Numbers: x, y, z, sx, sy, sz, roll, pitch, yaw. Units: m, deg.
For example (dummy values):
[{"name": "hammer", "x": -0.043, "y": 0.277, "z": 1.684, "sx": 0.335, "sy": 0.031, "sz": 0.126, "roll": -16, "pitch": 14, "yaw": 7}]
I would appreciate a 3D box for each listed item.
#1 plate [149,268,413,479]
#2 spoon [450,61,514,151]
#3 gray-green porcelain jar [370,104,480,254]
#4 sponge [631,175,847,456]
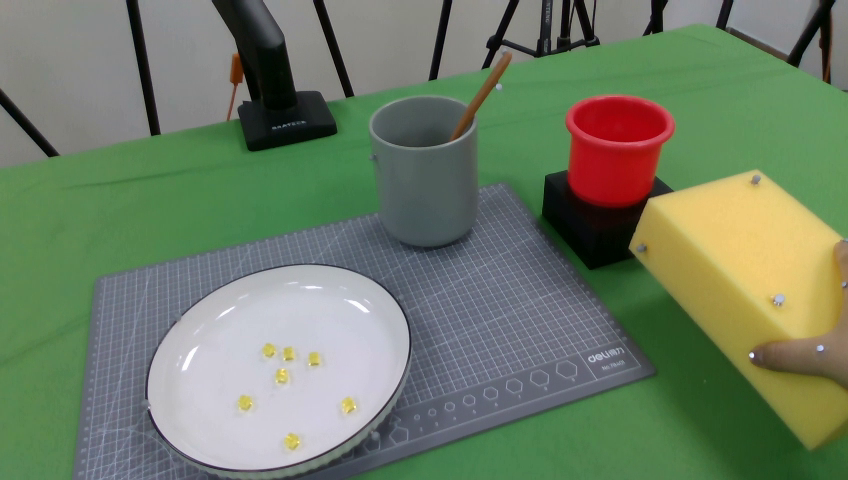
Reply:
[{"name": "plate", "x": -0.111, "y": 0.105, "z": 0.495, "sx": 0.207, "sy": 0.039, "sz": 0.205, "roll": -2, "pitch": 39, "yaw": 2}, {"name": "spoon", "x": 0.033, "y": -0.087, "z": 0.589, "sx": 0.022, "sy": 0.194, "sz": 0.041, "roll": 19, "pitch": 31, "yaw": -17}, {"name": "gray-green porcelain jar", "x": 0.004, "y": -0.057, "z": 0.614, "sx": 0.106, "sy": 0.127, "sz": 0.105, "roll": -2, "pitch": 40, "yaw": 2}, {"name": "sponge", "x": 0.276, "y": 0.044, "z": 0.464, "sx": 0.118, "sy": 0.061, "sz": 0.204, "roll": -16, "pitch": 48, "yaw": -19}]
